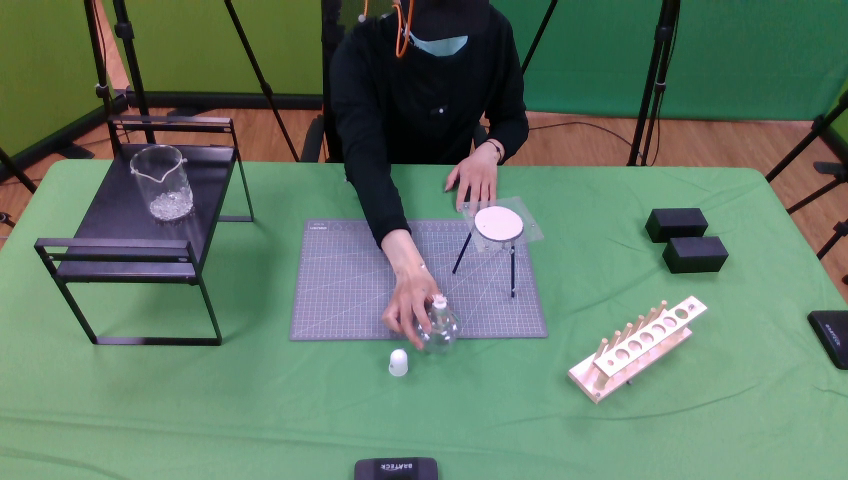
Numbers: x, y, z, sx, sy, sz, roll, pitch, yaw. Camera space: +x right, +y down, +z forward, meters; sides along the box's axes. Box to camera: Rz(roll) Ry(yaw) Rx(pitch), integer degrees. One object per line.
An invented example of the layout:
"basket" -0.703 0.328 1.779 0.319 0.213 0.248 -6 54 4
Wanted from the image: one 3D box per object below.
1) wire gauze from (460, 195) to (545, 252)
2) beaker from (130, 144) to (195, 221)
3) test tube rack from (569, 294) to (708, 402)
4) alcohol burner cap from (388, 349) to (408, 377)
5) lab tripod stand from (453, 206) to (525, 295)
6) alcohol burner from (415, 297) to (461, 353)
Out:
"wire gauze" 0.136 -0.035 1.061 0.121 0.011 0.124 -9 47 -12
"beaker" -0.403 -0.085 0.944 0.074 0.101 0.083 -15 50 -17
"test tube rack" 0.360 0.167 1.014 0.242 0.085 0.066 -25 52 -25
"alcohol burner cap" -0.042 0.198 0.989 0.034 0.048 0.033 2 45 -2
"lab tripod stand" 0.131 0.010 1.111 0.148 0.132 0.147 1 45 -1
"alcohol burner" 0.024 0.132 0.992 0.078 0.119 0.077 2 46 -2
